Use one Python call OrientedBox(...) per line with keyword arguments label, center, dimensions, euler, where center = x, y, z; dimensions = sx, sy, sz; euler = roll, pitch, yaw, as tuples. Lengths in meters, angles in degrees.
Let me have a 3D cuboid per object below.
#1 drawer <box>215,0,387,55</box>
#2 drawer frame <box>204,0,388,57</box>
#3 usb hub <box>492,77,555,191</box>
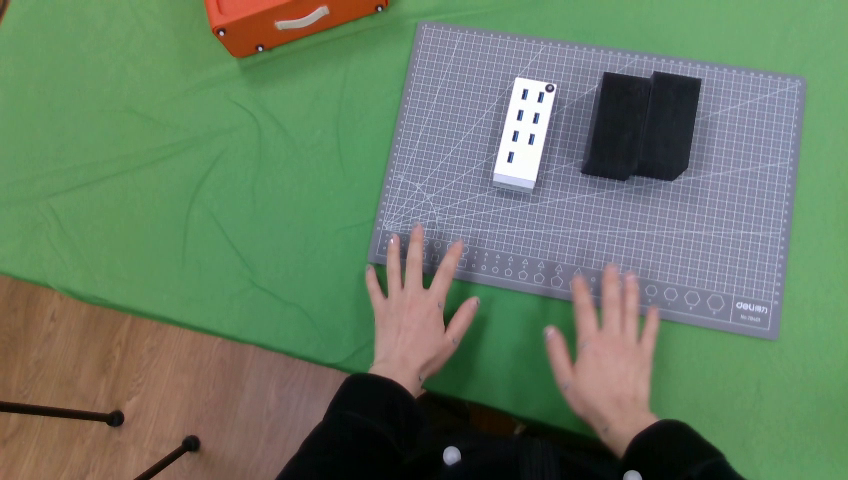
OrientedBox(label="drawer", center=(-0.169, -0.352, 0.722), dimensions=(0.194, 0.073, 0.210), euler=(-18, 78, 2))
OrientedBox(label="drawer frame", center=(-0.170, -0.354, 0.720), dimensions=(0.202, 0.083, 0.212), euler=(-19, 79, 2))
OrientedBox(label="usb hub", center=(0.113, -0.120, 0.686), dimensions=(0.049, 0.025, 0.125), euler=(12, 82, 6))
